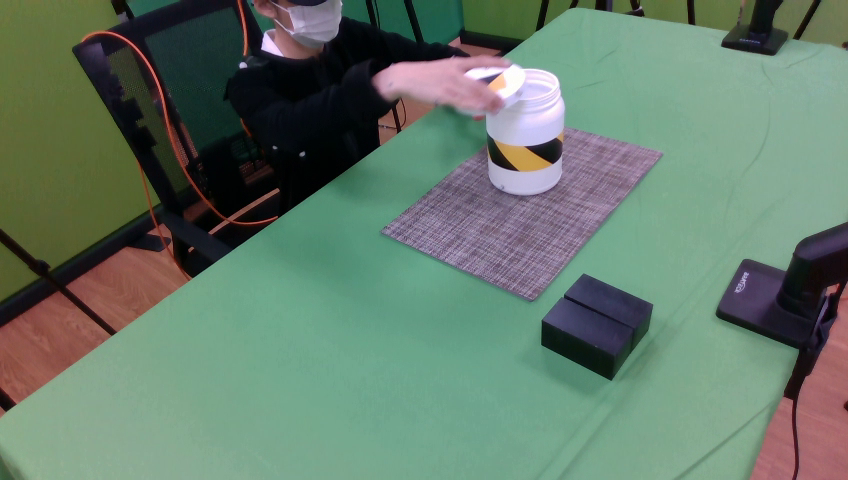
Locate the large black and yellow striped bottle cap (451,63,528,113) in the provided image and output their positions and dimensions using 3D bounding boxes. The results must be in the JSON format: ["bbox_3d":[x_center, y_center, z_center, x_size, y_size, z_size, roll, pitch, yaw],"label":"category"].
[{"bbox_3d":[0.098,-0.229,0.904,0.115,0.019,0.114,-10,43,10],"label":"large black and yellow striped bottle cap"}]

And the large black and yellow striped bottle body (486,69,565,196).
[{"bbox_3d":[0.173,-0.183,1.033,0.131,0.185,0.130,-5,41,4],"label":"large black and yellow striped bottle body"}]
